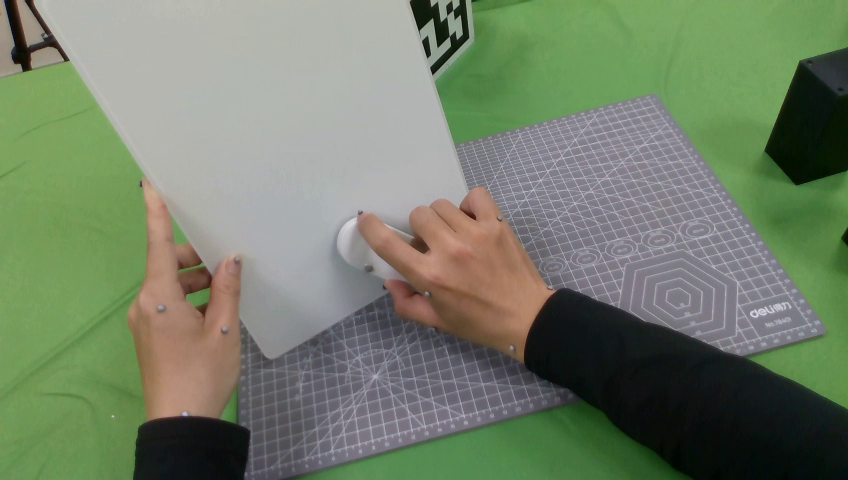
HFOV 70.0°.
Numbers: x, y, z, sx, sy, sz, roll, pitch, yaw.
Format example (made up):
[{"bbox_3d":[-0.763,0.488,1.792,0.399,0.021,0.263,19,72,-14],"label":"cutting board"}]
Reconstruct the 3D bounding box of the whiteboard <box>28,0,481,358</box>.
[{"bbox_3d":[-0.114,-0.101,0.493,0.217,0.308,0.142,-30,35,-13],"label":"whiteboard"}]

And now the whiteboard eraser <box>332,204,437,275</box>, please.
[{"bbox_3d":[-0.031,0.000,0.501,0.018,0.102,0.041,30,97,51],"label":"whiteboard eraser"}]
